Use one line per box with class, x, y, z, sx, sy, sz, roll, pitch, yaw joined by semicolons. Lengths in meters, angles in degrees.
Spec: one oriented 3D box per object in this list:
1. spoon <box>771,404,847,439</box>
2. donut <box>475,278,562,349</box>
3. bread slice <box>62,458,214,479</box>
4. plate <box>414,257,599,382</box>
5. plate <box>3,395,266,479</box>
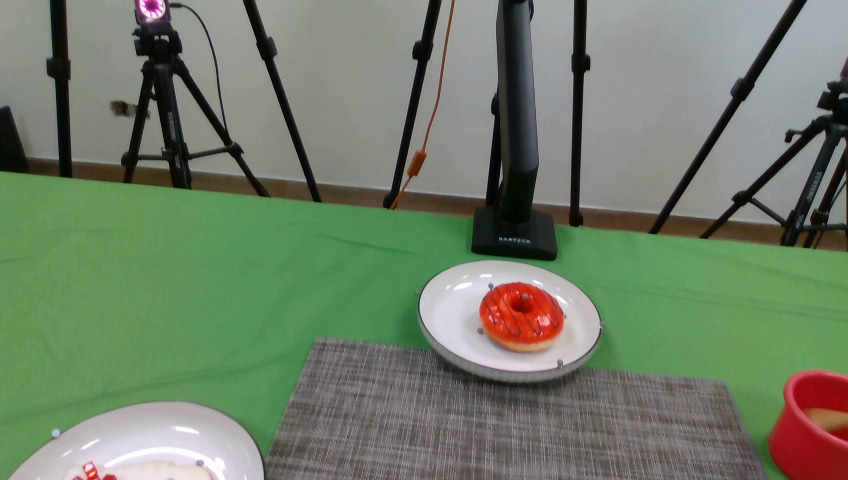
spoon;0.404;0.150;0.530;0.193;0.022;0.041;-23;11;39
donut;0.106;0.083;0.685;0.099;0.048;0.098;3;34;-2
bread slice;-0.231;0.217;0.477;0.132;0.019;0.104;-2;34;-7
plate;0.091;0.091;0.693;0.208;0.039;0.206;3;31;-2
plate;-0.230;0.213;0.478;0.209;0.038;0.207;2;34;-1
